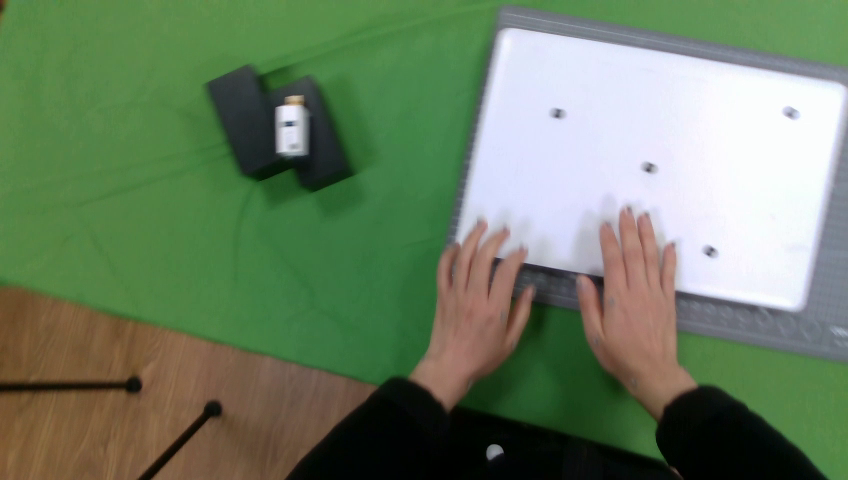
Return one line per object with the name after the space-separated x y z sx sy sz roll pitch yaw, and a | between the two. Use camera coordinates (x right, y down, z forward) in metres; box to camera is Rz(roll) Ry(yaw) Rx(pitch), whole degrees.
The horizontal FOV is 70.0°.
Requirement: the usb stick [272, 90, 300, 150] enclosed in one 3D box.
-0.133 -0.118 0.586 0.021 0.027 0.059 0 86 4 | usb stick

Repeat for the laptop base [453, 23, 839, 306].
0.222 -0.078 0.621 0.354 0.023 0.235 10 92 3 | laptop base

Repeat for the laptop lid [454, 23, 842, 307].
0.221 -0.076 0.609 0.356 0.013 0.241 12 92 3 | laptop lid
